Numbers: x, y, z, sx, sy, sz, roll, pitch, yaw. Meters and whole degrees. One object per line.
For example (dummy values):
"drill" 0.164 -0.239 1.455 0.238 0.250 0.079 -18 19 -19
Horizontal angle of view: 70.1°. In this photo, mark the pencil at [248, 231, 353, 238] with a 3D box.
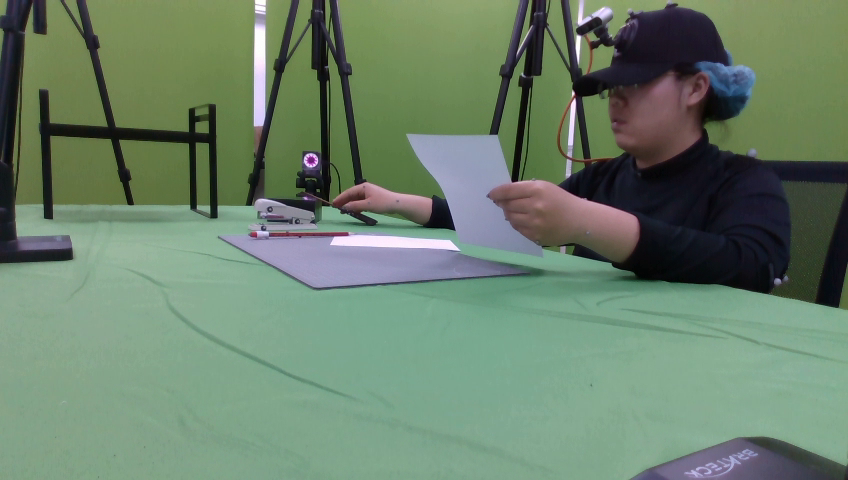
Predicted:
"pencil" -0.206 -0.009 1.040 0.195 0.012 0.012 0 8 -36

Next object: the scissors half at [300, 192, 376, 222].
"scissors half" -0.189 -0.073 1.333 0.176 0.013 0.040 20 10 -12

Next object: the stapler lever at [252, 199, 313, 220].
"stapler lever" -0.273 -0.058 1.170 0.119 0.040 0.026 0 10 -37

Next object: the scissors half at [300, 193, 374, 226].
"scissors half" -0.191 -0.068 1.313 0.175 0.013 0.040 24 15 5

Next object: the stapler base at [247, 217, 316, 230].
"stapler base" -0.276 -0.033 1.172 0.131 0.024 0.041 0 10 -37
